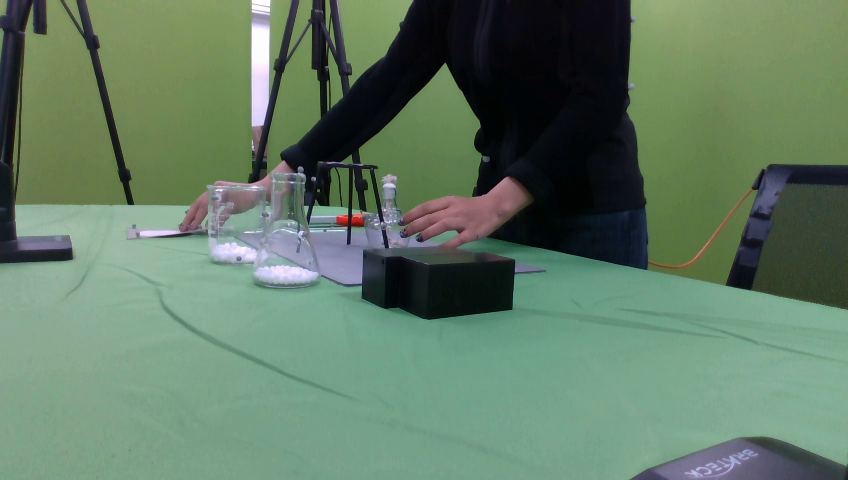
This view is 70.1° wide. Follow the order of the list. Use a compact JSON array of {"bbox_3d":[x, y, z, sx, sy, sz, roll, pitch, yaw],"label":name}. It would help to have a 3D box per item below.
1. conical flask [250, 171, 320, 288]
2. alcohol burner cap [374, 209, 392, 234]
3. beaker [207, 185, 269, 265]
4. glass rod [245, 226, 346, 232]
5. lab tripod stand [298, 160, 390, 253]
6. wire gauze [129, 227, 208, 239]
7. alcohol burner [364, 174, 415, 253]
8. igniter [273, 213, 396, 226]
[{"bbox_3d":[-0.150,-0.013,0.658,0.075,0.122,0.075,2,7,0],"label":"conical flask"},{"bbox_3d":[-0.078,-0.036,1.148,0.034,0.048,0.034,2,7,0],"label":"alcohol burner cap"},{"bbox_3d":[-0.244,-0.021,0.784,0.083,0.100,0.074,6,8,30],"label":"beaker"},{"bbox_3d":[-0.237,-0.021,1.140,0.201,0.008,0.008,-2,8,-33],"label":"glass rod"},{"bbox_3d":[-0.111,-0.050,0.893,0.148,0.131,0.148,4,7,0],"label":"lab tripod stand"},{"bbox_3d":[-0.430,-0.015,1.016,0.122,0.011,0.124,-4,6,-26],"label":"wire gauze"},{"bbox_3d":[-0.053,-0.041,0.918,0.078,0.119,0.078,0,7,0],"label":"alcohol burner"},{"bbox_3d":[-0.178,-0.044,1.258,0.278,0.025,0.057,-3,-1,-39],"label":"igniter"}]
